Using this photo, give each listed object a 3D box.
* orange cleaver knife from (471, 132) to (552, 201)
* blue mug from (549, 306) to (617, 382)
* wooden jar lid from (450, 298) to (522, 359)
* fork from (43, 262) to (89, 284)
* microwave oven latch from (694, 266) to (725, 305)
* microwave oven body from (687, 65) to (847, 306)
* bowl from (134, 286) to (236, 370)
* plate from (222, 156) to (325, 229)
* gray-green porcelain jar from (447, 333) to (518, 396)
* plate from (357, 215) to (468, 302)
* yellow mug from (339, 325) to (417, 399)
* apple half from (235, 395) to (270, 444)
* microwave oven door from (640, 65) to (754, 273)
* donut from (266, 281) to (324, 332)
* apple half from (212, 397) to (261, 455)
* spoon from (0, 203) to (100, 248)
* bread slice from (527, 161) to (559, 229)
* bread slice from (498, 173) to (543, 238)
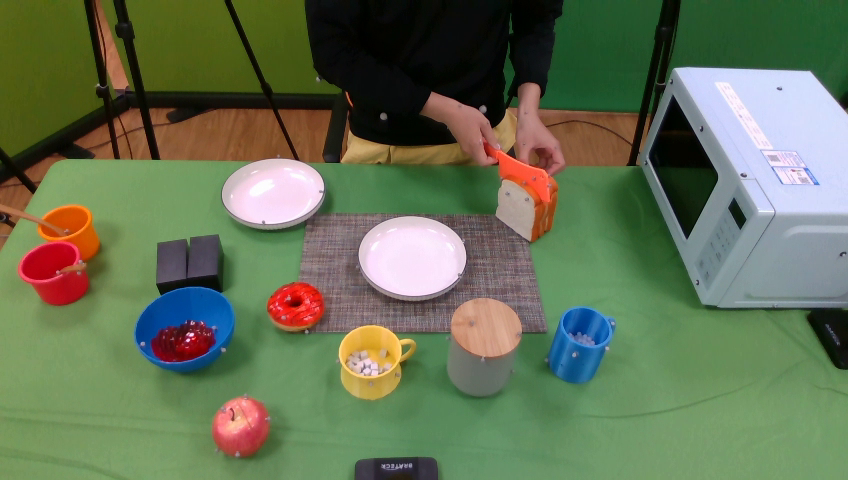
[{"bbox_3d":[0.168,-0.144,1.174,0.012,0.077,0.210,-34,52,-25],"label":"orange cleaver knife"},{"bbox_3d":[0.269,0.166,0.998,0.116,0.106,0.082,-19,51,-21],"label":"blue mug"},{"bbox_3d":[0.093,0.135,0.914,0.108,0.021,0.107,2,48,-3],"label":"wooden jar lid"},{"bbox_3d":[-0.599,0.053,1.013,0.207,0.019,0.028,-14,30,45],"label":"fork"},{"bbox_3d":[0.523,0.082,1.115,0.030,0.029,0.078,3,46,0],"label":"microwave oven latch"},{"bbox_3d":[0.669,-0.111,1.176,0.326,0.261,0.439,0,46,-3],"label":"microwave oven body"},{"bbox_3d":[-0.377,0.155,0.981,0.151,0.077,0.150,2,46,-2],"label":"bowl"},{"bbox_3d":[-0.308,-0.095,1.251,0.209,0.038,0.208,2,47,-2],"label":"plate"},{"bbox_3d":[0.091,0.178,0.960,0.106,0.127,0.105,2,46,-2],"label":"gray-green porcelain jar"},{"bbox_3d":[-0.022,0.037,1.141,0.208,0.039,0.206,2,46,-2],"label":"plate"},{"bbox_3d":[-0.072,0.190,0.978,0.131,0.064,0.099,-17,50,-20],"label":"yellow mug"},{"bbox_3d":[-0.245,0.259,0.893,0.033,0.082,0.081,-29,55,-22],"label":"apple half"},{"bbox_3d":[0.523,-0.147,1.193,0.039,0.245,0.353,0,47,-3],"label":"microwave oven door"},{"bbox_3d":[-0.222,0.114,1.049,0.099,0.048,0.098,2,45,-2],"label":"donut"},{"bbox_3d":[-0.276,0.276,0.877,0.053,0.075,0.080,-29,58,-21],"label":"apple half"},{"bbox_3d":[-0.683,-0.031,1.088,0.195,0.021,0.041,33,33,-38],"label":"spoon"},{"bbox_3d":[0.226,-0.093,1.223,0.018,0.135,0.106,-34,60,-28],"label":"bread slice"},{"bbox_3d":[0.189,-0.072,1.198,0.019,0.132,0.104,-37,58,-23],"label":"bread slice"}]
